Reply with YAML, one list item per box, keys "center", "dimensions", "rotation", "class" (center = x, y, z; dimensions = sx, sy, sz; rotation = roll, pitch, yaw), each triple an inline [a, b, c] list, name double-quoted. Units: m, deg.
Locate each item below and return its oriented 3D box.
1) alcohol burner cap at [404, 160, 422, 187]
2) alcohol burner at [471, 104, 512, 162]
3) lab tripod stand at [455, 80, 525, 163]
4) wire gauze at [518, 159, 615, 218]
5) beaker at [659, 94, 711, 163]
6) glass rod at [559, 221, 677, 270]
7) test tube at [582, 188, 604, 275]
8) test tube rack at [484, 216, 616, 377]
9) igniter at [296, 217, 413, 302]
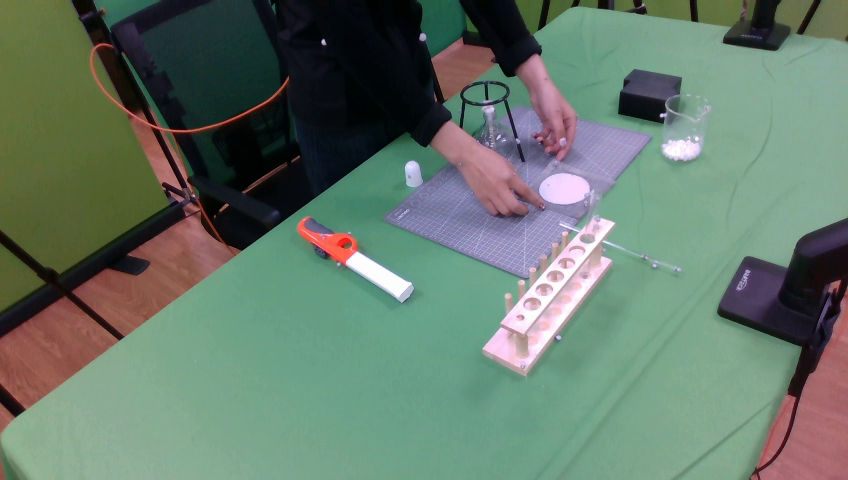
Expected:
- center: [-0.022, -0.125, 1.118]
  dimensions: [0.034, 0.048, 0.033]
  rotation: [-5, 41, 5]
  class: "alcohol burner cap"
- center: [0.125, -0.207, 1.126]
  dimensions: [0.078, 0.119, 0.077]
  rotation: [-5, 43, 5]
  class: "alcohol burner"
- center: [0.121, -0.219, 1.126]
  dimensions: [0.148, 0.132, 0.147]
  rotation: [-4, 39, 4]
  class: "lab tripod stand"
- center: [0.247, -0.090, 1.047]
  dimensions: [0.120, 0.011, 0.125]
  rotation: [27, 53, 30]
  class: "wire gauze"
- center: [0.457, -0.192, 1.063]
  dimensions: [0.074, 0.101, 0.083]
  rotation: [-7, 41, 4]
  class: "beaker"
- center: [0.292, 0.007, 0.927]
  dimensions: [0.198, 0.008, 0.008]
  rotation: [26, 52, 36]
  class: "glass rod"
- center: [0.228, -0.007, 0.821]
  dimensions: [0.017, 0.151, 0.017]
  rotation: [-3, 42, 3]
  class: "test tube"
- center: [0.174, 0.064, 0.823]
  dimensions: [0.066, 0.085, 0.243]
  rotation: [23, 49, 32]
  class: "test tube rack"
- center: [-0.121, 0.025, 0.970]
  dimensions: [0.274, 0.025, 0.057]
  rotation: [29, 63, 37]
  class: "igniter"
